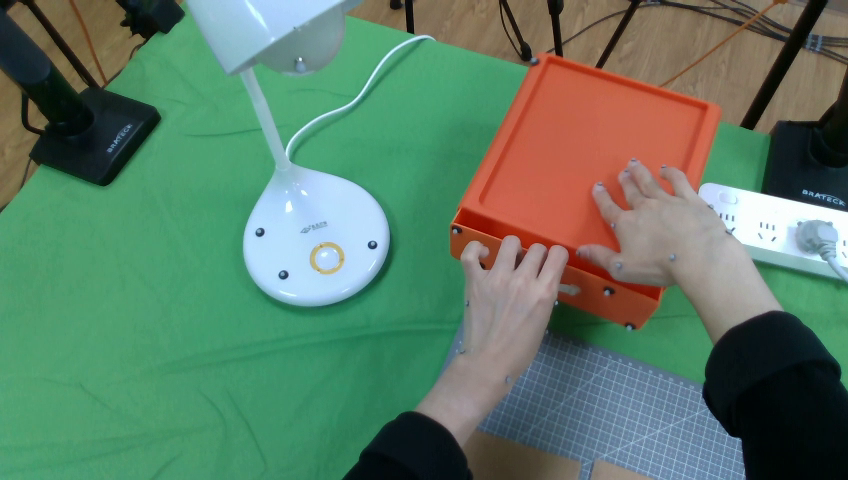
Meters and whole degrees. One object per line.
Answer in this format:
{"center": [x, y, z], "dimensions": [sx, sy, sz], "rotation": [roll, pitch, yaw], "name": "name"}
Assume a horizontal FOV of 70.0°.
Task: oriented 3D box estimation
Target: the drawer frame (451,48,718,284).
{"center": [0.161, -0.069, 0.614], "dimensions": [0.201, 0.083, 0.212], "rotation": [21, 66, 13], "name": "drawer frame"}

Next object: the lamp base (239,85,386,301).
{"center": [-0.131, -0.052, 0.604], "dimensions": [0.160, 0.182, 0.177], "rotation": [-30, 62, -14], "name": "lamp base"}

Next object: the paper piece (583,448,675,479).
{"center": [0.193, 0.268, 0.519], "dimensions": [0.135, 0.004, 0.135], "rotation": [18, 64, 12], "name": "paper piece"}

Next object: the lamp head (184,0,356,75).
{"center": [-0.097, -0.170, 0.338], "dimensions": [0.112, 0.112, 0.123], "rotation": [-38, 105, -17], "name": "lamp head"}

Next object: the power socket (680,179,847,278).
{"center": [0.389, -0.011, 0.652], "dimensions": [0.226, 0.033, 0.072], "rotation": [14, 64, 9], "name": "power socket"}

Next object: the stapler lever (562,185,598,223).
{"center": [0.123, -0.048, 0.592], "dimensions": [0.027, 0.040, 0.117], "rotation": [-46, 64, 1], "name": "stapler lever"}

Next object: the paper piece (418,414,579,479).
{"center": [0.057, 0.238, 0.540], "dimensions": [0.135, 0.009, 0.137], "rotation": [14, 64, 12], "name": "paper piece"}

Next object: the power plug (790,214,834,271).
{"center": [0.390, 0.005, 0.618], "dimensions": [0.035, 0.053, 0.072], "rotation": [24, 65, 14], "name": "power plug"}

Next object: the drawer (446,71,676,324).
{"center": [0.151, -0.049, 0.600], "dimensions": [0.194, 0.074, 0.211], "rotation": [22, 65, 13], "name": "drawer"}

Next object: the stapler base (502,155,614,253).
{"center": [0.132, -0.041, 0.612], "dimensions": [0.041, 0.024, 0.129], "rotation": [-46, 61, 1], "name": "stapler base"}
